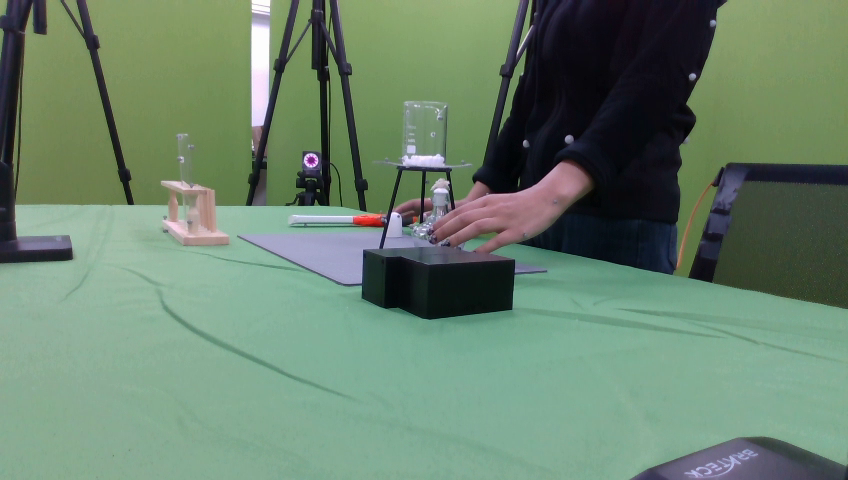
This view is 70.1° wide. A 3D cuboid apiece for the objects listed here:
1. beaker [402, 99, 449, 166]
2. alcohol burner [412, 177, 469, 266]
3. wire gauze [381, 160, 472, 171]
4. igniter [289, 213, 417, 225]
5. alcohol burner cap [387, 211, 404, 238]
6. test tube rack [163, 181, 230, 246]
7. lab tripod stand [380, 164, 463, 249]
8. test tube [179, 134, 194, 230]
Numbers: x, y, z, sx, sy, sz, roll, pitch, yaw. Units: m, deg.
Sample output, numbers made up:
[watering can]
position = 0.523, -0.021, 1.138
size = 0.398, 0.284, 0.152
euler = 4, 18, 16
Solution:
[beaker]
position = 0.003, -0.168, 0.957
size = 0.073, 0.100, 0.084
euler = 8, 11, 35
[alcohol burner]
position = 0.022, -0.025, 0.821
size = 0.078, 0.119, 0.078
euler = 1, 8, 0
[wire gauze]
position = -0.004, -0.120, 0.959
size = 0.122, 0.011, 0.124
euler = -5, 13, -33
[igniter]
position = -0.144, -0.044, 1.275
size = 0.278, 0.025, 0.057
euler = -1, -2, -27
[alcohol burner cap]
position = -0.053, -0.029, 1.107
size = 0.034, 0.048, 0.034
euler = 2, 9, 0
[test tube rack]
position = -0.387, -0.050, 1.015
size = 0.067, 0.085, 0.241
euler = -2, 9, -30
[lab tripod stand]
position = -0.003, -0.055, 0.967
size = 0.148, 0.131, 0.148
euler = 2, 9, 0
[test tube]
position = -0.366, -0.089, 0.938
size = 0.017, 0.150, 0.017
euler = -1, 9, 1
